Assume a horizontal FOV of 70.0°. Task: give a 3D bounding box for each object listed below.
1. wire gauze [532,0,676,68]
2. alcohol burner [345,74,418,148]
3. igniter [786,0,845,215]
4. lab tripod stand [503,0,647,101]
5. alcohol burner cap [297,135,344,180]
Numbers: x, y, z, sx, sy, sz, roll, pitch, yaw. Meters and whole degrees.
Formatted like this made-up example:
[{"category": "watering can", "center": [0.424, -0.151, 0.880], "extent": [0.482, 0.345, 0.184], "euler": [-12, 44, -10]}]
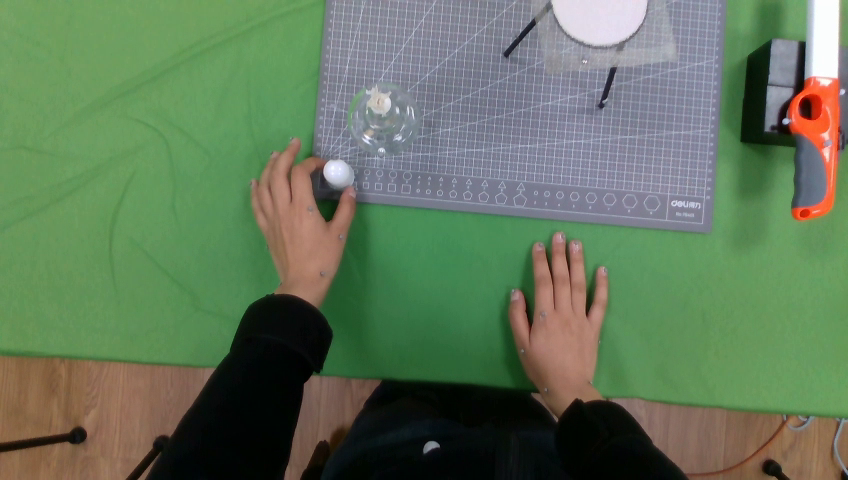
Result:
[{"category": "wire gauze", "center": [0.159, -0.220, 0.548], "extent": [0.125, 0.011, 0.121], "euler": [-8, 88, -1]}, {"category": "alcohol burner", "center": [-0.044, -0.136, 0.620], "extent": [0.078, 0.119, 0.078], "euler": [0, 90, -1]}, {"category": "igniter", "center": [0.406, -0.161, 0.625], "extent": [0.057, 0.025, 0.276], "euler": [6, 86, 2]}, {"category": "lab tripod stand", "center": [0.160, -0.225, 0.615], "extent": [0.148, 0.131, 0.148], "euler": [0, 86, 1]}, {"category": "alcohol burner cap", "center": [-0.106, -0.084, 0.643], "extent": [0.048, 0.034, 0.034], "euler": [39, 88, -2]}]
